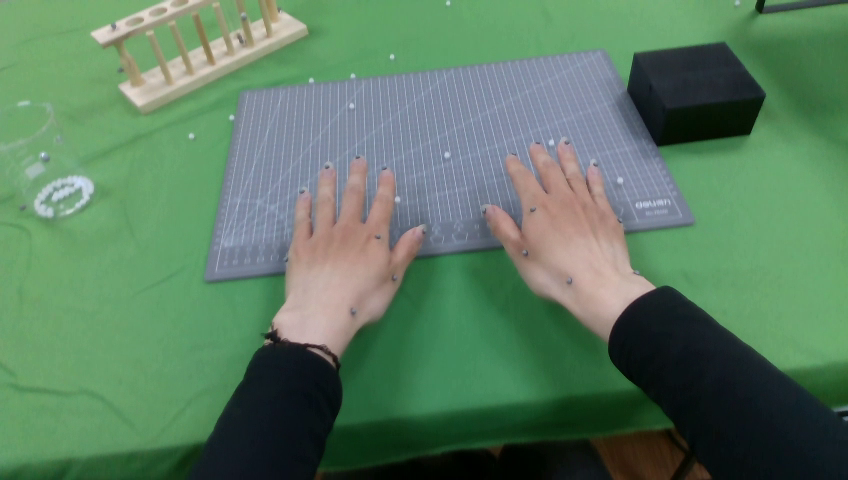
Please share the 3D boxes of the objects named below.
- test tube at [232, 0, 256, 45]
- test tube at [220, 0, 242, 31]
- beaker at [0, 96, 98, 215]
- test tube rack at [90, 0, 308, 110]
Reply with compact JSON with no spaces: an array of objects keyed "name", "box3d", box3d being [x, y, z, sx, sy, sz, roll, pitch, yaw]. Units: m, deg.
[{"name":"test tube","box3d":[-0.230,-0.309,0.737,0.017,0.152,0.017,-2,47,2]},{"name":"test tube","box3d":[-0.258,-0.331,0.752,0.017,0.152,0.017,-5,47,6]},{"name":"beaker","box3d":[-0.382,-0.083,0.606,0.073,0.101,0.083,14,51,17]},{"name":"test tube rack","box3d":[-0.272,-0.266,0.763,0.242,0.086,0.066,-36,55,-23]}]
